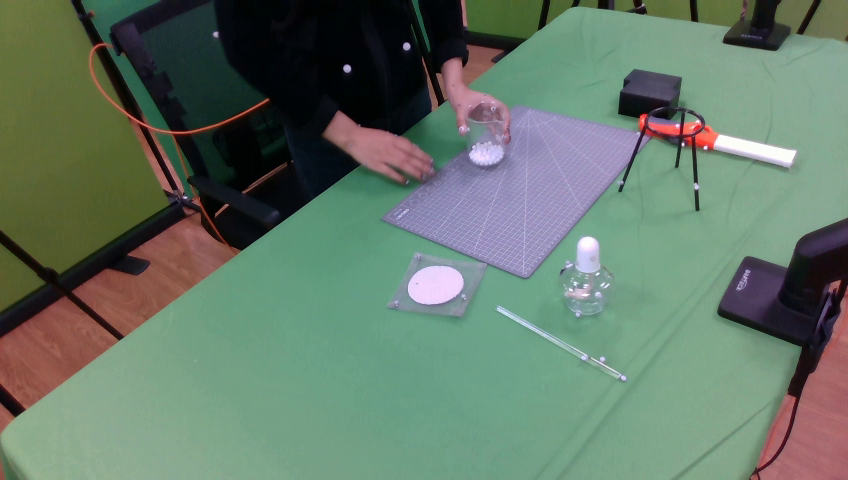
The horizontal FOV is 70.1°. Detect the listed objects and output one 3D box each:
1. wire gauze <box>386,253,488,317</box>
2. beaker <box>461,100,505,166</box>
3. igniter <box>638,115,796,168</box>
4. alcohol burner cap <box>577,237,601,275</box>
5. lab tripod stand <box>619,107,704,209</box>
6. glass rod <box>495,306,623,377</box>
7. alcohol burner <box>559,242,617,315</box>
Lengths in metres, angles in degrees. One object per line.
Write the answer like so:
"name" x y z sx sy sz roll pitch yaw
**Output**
"wire gauze" 0.021 0.067 0.910 0.121 0.011 0.125 9 41 20
"beaker" 0.113 -0.193 1.102 0.083 0.101 0.074 27 54 32
"igniter" 0.517 -0.181 1.093 0.274 0.025 0.057 23 65 32
"alcohol burner cap" 0.216 0.018 0.793 0.034 0.048 0.033 -8 35 6
"lab tripod stand" 0.400 -0.136 0.981 0.148 0.132 0.147 -4 41 4
"glass rod" 0.174 0.131 0.804 0.198 0.008 0.008 27 53 35
"alcohol burner" 0.222 0.045 0.816 0.078 0.119 0.077 -4 42 4
